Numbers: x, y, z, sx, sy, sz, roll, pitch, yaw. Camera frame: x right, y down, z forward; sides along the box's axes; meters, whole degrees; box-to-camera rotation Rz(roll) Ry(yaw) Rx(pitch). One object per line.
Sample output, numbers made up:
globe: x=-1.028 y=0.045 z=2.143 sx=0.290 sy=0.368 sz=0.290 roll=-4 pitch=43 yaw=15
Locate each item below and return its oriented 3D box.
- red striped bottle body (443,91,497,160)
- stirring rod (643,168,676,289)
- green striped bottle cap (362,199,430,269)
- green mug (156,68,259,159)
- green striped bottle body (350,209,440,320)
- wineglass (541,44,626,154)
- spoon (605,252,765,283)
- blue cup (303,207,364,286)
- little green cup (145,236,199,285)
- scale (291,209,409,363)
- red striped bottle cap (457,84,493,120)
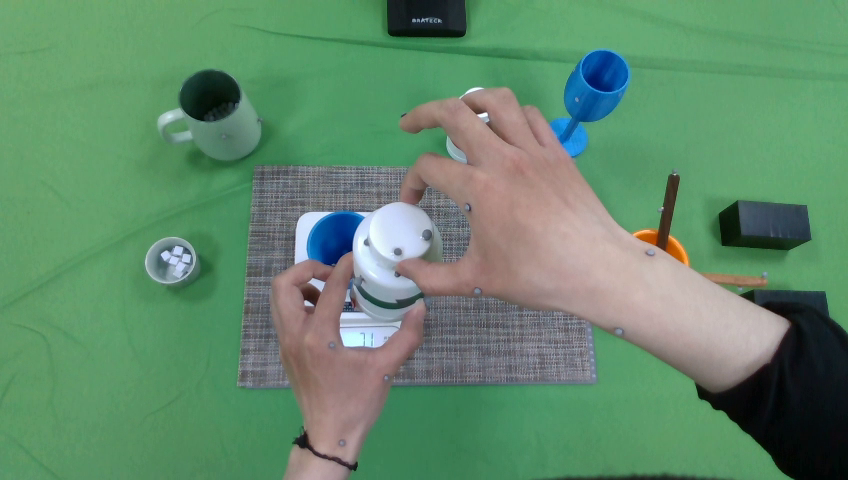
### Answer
red striped bottle body: x=0.062 y=-0.160 z=0.820 sx=0.063 sy=0.120 sz=0.062 roll=1 pitch=73 yaw=-4
stirring rod: x=0.302 y=-0.010 z=0.778 sx=0.014 sy=0.177 sz=0.006 roll=4 pitch=32 yaw=11
green striped bottle cap: x=-0.019 y=-0.004 z=0.400 sx=0.044 sy=0.020 sz=0.044 roll=3 pitch=66 yaw=-7
green mug: x=-0.289 y=-0.160 z=0.803 sx=0.125 sy=0.105 sz=0.092 roll=-21 pitch=76 yaw=-10
green striped bottle body: x=-0.023 y=0.015 z=0.448 sx=0.063 sy=0.120 sz=0.062 roll=3 pitch=68 yaw=-6
wineglass: x=0.208 y=-0.182 z=0.809 sx=0.074 sy=0.173 sz=0.073 roll=1 pitch=72 yaw=-3
spoon: x=0.322 y=0.040 z=0.764 sx=0.022 sy=0.192 sz=0.041 roll=23 pitch=76 yaw=-42
blue cup: x=-0.097 y=0.016 z=0.729 sx=0.093 sy=0.100 sz=0.092 roll=2 pitch=75 yaw=-5
little green cup: x=-0.320 y=0.029 z=0.778 sx=0.061 sy=0.039 sz=0.061 roll=2 pitch=73 yaw=-5
scale: x=-0.096 y=0.056 z=0.786 sx=0.149 sy=0.032 sz=0.199 roll=-1 pitch=74 yaw=-4
red striped bottle cap: x=0.065 y=-0.176 z=0.769 sx=0.044 sy=0.018 sz=0.044 roll=1 pitch=70 yaw=-3
